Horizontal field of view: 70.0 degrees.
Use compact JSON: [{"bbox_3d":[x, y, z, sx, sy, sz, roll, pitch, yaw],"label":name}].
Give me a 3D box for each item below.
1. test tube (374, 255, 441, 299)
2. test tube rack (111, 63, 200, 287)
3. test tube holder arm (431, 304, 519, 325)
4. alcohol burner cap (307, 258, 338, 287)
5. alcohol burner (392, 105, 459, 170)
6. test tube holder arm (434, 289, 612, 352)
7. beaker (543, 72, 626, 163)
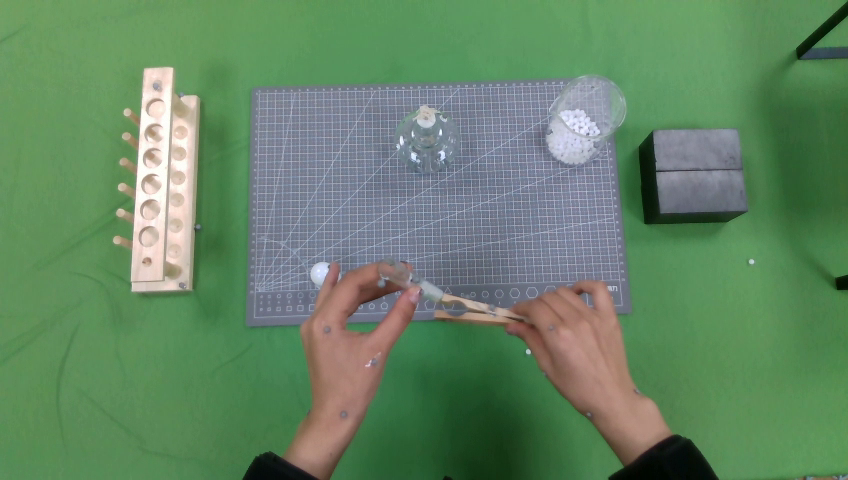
[{"bbox_3d":[-0.009,0.034,0.517,0.017,0.151,0.017,-3,77,16],"label":"test tube"},{"bbox_3d":[-0.311,-0.071,0.696,0.067,0.085,0.241,-2,79,0],"label":"test tube rack"},{"bbox_3d":[0.051,0.075,0.601,0.087,0.015,0.010,5,66,9],"label":"test tube holder arm"},{"bbox_3d":[-0.119,0.035,0.695,0.034,0.048,0.033,0,79,-1],"label":"alcohol burner cap"},{"bbox_3d":[0.001,-0.124,0.692,0.078,0.119,0.077,0,79,2],"label":"alcohol burner"},{"bbox_3d":[0.095,0.078,0.595,0.178,0.015,0.013,15,69,13],"label":"test tube holder arm"},{"bbox_3d":[0.178,-0.137,0.703,0.084,0.100,0.073,-3,78,0],"label":"beaker"}]
